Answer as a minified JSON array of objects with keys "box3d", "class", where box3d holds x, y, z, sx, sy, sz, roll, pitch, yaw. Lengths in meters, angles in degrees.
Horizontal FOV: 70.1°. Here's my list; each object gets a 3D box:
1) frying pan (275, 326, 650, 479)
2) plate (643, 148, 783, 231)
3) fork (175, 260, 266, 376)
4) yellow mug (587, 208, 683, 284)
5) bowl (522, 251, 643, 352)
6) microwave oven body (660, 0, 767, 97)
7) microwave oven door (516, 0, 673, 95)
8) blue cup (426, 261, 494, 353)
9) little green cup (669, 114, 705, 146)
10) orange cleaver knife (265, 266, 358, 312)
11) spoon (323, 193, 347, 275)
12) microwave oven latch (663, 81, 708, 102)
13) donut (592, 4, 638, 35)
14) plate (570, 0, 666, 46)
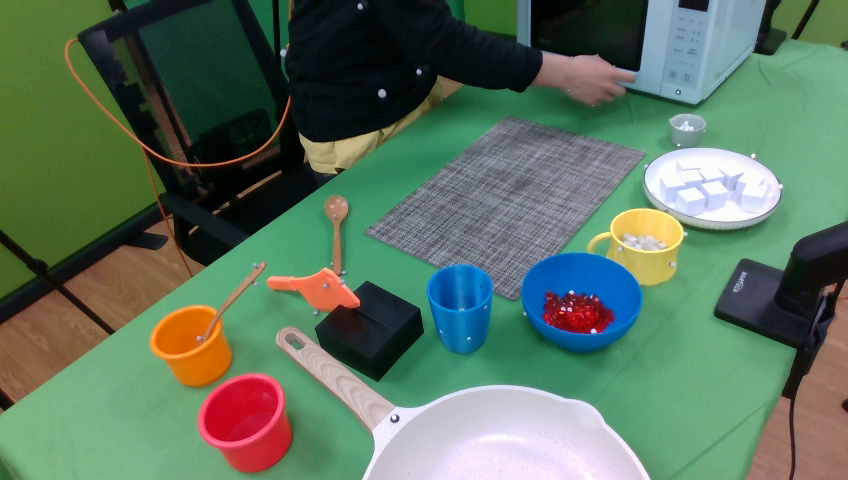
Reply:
[{"box3d":[0.003,0.229,0.641,0.484,0.103,0.308,34,54,28],"class":"frying pan"},{"box3d":[0.464,-0.080,0.986,0.207,0.039,0.206,-4,41,4],"class":"plate"},{"box3d":[-0.268,0.103,0.792,0.207,0.019,0.028,-51,41,16],"class":"fork"},{"box3d":[0.305,0.009,0.884,0.131,0.064,0.099,-4,40,5],"class":"yellow mug"},{"box3d":[0.204,0.093,0.792,0.151,0.077,0.150,-4,40,4],"class":"bowl"},{"box3d":[0.473,-0.516,1.313,0.438,0.261,0.327,26,51,34],"class":"microwave oven body"},{"box3d":[0.344,-0.458,1.257,0.353,0.245,0.039,26,51,33],"class":"microwave oven door"},{"box3d":[0.049,0.095,0.791,0.092,0.100,0.092,-3,42,3],"class":"blue cup"},{"box3d":[0.485,-0.203,1.122,0.061,0.039,0.061,-5,40,4],"class":"little green cup"},{"box3d":[-0.165,0.073,0.864,0.210,0.077,0.012,-6,31,50],"class":"orange cleaver knife"},{"box3d":[-0.148,-0.014,1.008,0.042,0.021,0.192,4,39,-12],"class":"spoon"},{"box3d":[0.518,-0.299,1.202,0.078,0.029,0.030,30,53,36],"class":"microwave oven latch"},{"box3d":[0.428,-0.493,1.352,0.099,0.048,0.098,-7,42,7],"class":"donut"},{"box3d":[0.436,-0.488,1.368,0.209,0.038,0.208,-4,40,4],"class":"plate"}]
